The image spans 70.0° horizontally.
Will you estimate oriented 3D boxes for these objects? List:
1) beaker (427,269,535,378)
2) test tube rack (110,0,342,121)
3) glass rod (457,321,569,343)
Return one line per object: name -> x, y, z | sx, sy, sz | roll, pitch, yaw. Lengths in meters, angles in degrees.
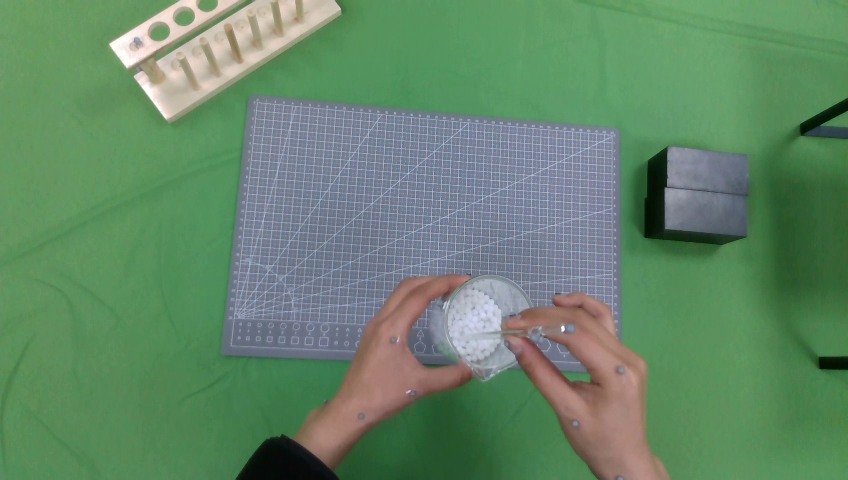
beaker -> 0.043, 0.072, 0.512 | 0.074, 0.100, 0.083 | 7, 80, -7
test tube rack -> -0.211, -0.240, 0.678 | 0.242, 0.085, 0.066 | -37, 85, -11
glass rod -> 0.057, 0.070, 0.445 | 0.008, 0.200, 0.008 | 3, 78, -15
